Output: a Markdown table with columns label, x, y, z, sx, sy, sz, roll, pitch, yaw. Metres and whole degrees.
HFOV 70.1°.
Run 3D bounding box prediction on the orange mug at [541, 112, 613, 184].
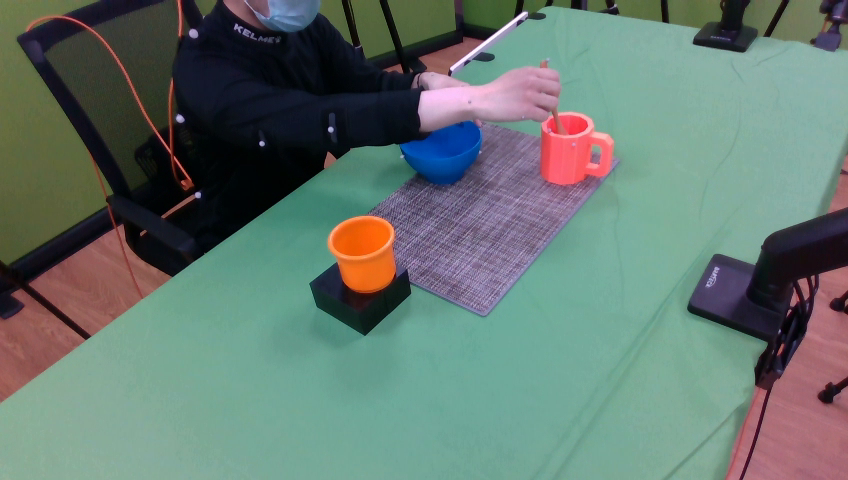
| label | x | y | z | sx | sy | sz | roll | pitch | yaw |
| --- | --- | --- | --- | --- | --- | --- | --- | --- | --- |
| orange mug | 0.264 | -0.157 | 1.050 | 0.125 | 0.101 | 0.083 | 14 | 45 | 29 |

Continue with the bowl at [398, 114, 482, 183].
| label | x | y | z | sx | sy | sz | roll | pitch | yaw |
| --- | --- | --- | --- | --- | --- | --- | --- | --- | --- |
| bowl | 0.032 | -0.156 | 1.097 | 0.151 | 0.077 | 0.150 | -4 | 41 | 4 |

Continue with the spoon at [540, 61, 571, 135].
| label | x | y | z | sx | sy | sz | roll | pitch | yaw |
| --- | --- | --- | --- | --- | --- | --- | --- | --- | --- |
| spoon | 0.222 | -0.208 | 1.007 | 0.041 | 0.195 | 0.021 | -24 | 28 | 4 |
